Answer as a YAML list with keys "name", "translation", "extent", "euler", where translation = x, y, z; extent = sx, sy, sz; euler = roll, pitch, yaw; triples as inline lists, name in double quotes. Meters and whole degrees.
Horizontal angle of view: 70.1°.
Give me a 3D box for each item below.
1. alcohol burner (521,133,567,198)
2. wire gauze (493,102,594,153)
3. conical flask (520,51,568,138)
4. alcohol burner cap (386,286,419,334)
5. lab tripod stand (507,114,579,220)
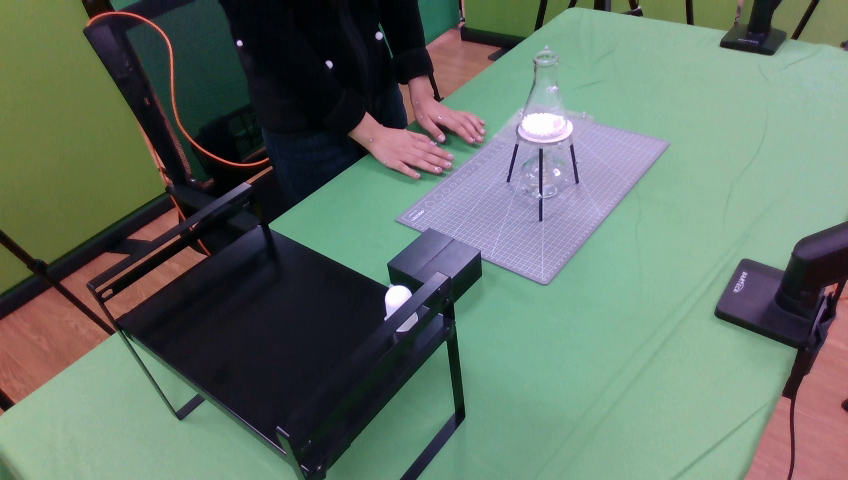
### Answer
- name: "alcohol burner"
  translation: [0.204, -0.131, 1.023]
  extent: [0.078, 0.119, 0.077]
  euler: [-5, 42, 5]
- name: "wire gauze"
  translation: [0.191, -0.179, 0.965]
  extent: [0.120, 0.011, 0.125]
  euler: [18, 49, 29]
- name: "conical flask"
  translation: [0.185, -0.223, 0.926]
  extent: [0.075, 0.122, 0.075]
  euler: [-4, 41, 4]
- name: "alcohol burner cap"
  translation: [-0.024, 0.067, 0.604]
  extent: [0.034, 0.048, 0.033]
  euler: [-4, 39, 4]
- name: "lab tripod stand"
  translation: [0.199, -0.128, 1.005]
  extent: [0.148, 0.132, 0.147]
  euler: [-3, 42, 3]
